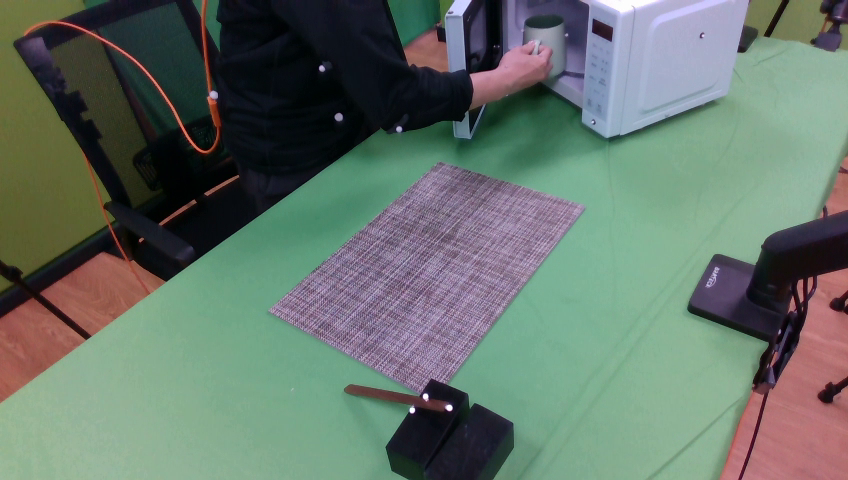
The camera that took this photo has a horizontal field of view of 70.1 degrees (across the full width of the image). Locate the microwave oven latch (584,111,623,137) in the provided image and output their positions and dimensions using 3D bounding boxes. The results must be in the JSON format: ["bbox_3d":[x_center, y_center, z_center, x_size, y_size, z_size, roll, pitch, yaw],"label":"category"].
[{"bbox_3d":[0.337,-0.222,1.142,0.030,0.029,0.078,-21,42,-14],"label":"microwave oven latch"}]

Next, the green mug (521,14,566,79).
[{"bbox_3d":[0.235,-0.378,1.211,0.092,0.105,0.125,11,48,21],"label":"green mug"}]

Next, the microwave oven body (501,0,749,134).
[{"bbox_3d":[0.382,-0.444,1.246,0.327,0.261,0.437,-22,42,-16],"label":"microwave oven body"}]

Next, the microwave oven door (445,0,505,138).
[{"bbox_3d":[0.112,-0.406,1.229,0.039,0.245,0.355,5,43,16],"label":"microwave oven door"}]

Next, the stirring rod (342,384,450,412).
[{"bbox_3d":[-0.038,0.185,0.714,0.175,0.006,0.014,-3,22,43],"label":"stirring rod"}]
